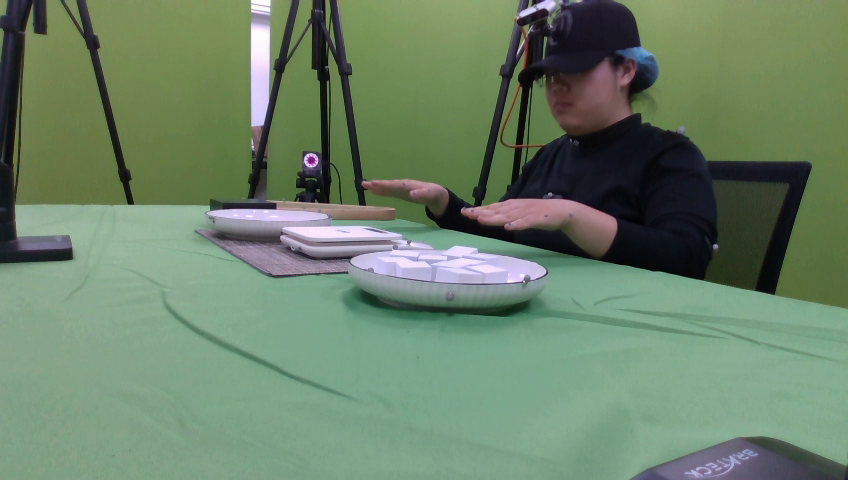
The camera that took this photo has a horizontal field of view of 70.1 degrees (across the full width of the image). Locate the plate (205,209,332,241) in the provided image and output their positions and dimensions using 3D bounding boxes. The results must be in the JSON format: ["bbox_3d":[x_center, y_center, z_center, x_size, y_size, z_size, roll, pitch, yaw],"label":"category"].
[{"bbox_3d":[-0.262,-0.026,1.030,0.208,0.039,0.207,3,7,0],"label":"plate"}]

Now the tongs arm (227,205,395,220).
[{"bbox_3d":[-0.247,-0.063,1.381,0.389,0.028,0.028,0,5,-21],"label":"tongs arm"}]

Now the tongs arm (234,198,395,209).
[{"bbox_3d":[-0.263,-0.076,1.460,0.386,0.026,0.050,3,7,-8],"label":"tongs arm"}]

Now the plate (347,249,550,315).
[{"bbox_3d":[0.025,0.042,0.627,0.209,0.038,0.209,2,7,0],"label":"plate"}]

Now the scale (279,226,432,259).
[{"bbox_3d":[-0.100,0.001,0.899,0.202,0.031,0.148,-1,9,-31],"label":"scale"}]
